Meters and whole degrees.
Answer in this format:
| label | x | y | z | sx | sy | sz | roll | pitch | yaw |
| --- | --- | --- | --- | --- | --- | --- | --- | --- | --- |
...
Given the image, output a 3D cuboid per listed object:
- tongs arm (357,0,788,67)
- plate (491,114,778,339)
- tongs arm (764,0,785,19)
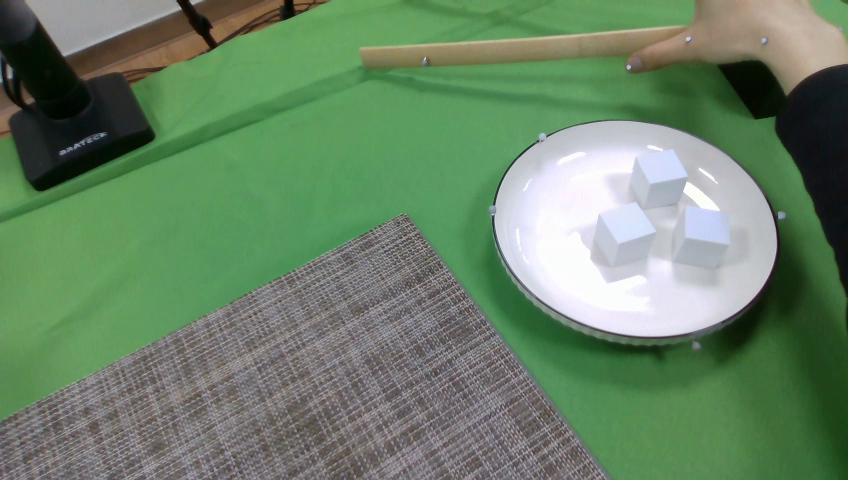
| label | x | y | z | sx | sy | sz | roll | pitch | yaw |
| --- | --- | --- | --- | --- | --- | --- | --- | --- | --- |
| tongs arm | 0.120 | -0.186 | 0.562 | 0.386 | 0.028 | 0.028 | 1 | 54 | 17 |
| plate | 0.157 | -0.013 | 0.472 | 0.207 | 0.039 | 0.205 | -3 | 55 | 4 |
| tongs arm | 0.141 | -0.249 | 0.595 | 0.383 | 0.027 | 0.050 | 11 | 61 | 22 |
